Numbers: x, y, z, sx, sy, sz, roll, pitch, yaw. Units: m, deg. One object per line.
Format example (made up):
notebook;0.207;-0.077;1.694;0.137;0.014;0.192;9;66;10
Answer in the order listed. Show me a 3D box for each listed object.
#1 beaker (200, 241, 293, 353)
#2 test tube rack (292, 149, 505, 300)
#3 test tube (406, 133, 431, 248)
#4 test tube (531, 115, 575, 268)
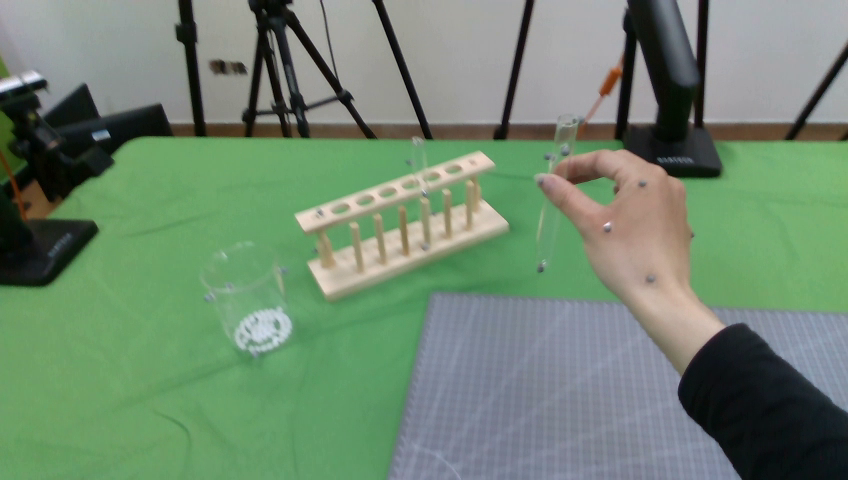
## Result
beaker;-0.181;0.060;0.627;0.074;0.101;0.083;-32;45;-28
test tube rack;-0.023;-0.022;0.719;0.243;0.086;0.066;-21;42;-18
test tube;-0.005;-0.052;0.682;0.017;0.152;0.017;-4;39;4
test tube;0.102;-0.033;0.492;0.017;0.151;0.017;0;43;0
